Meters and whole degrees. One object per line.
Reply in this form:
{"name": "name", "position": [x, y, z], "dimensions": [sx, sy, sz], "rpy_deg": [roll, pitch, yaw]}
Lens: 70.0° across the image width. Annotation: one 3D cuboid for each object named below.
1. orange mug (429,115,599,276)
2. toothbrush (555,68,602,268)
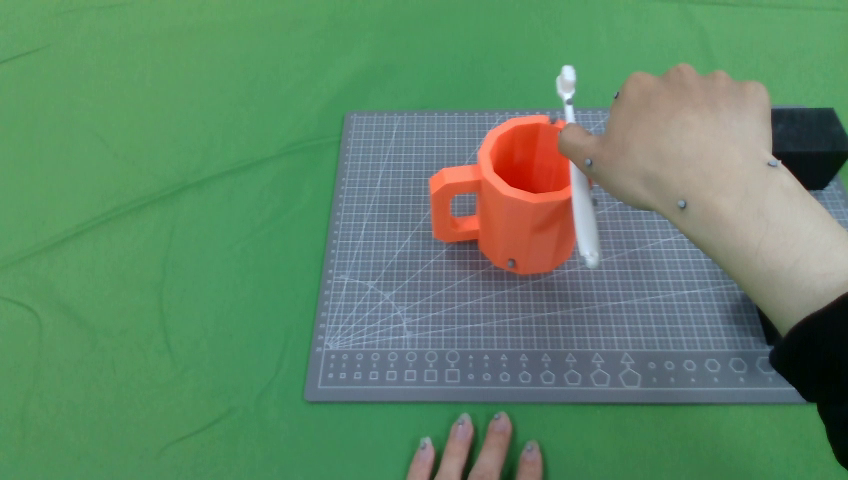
{"name": "orange mug", "position": [0.067, -0.032, 0.474], "dimensions": [0.126, 0.101, 0.082], "rpy_deg": [-5, 55, -6]}
{"name": "toothbrush", "position": [0.108, -0.058, 0.426], "dimensions": [0.014, 0.017, 0.180], "rpy_deg": [5, 55, -5]}
